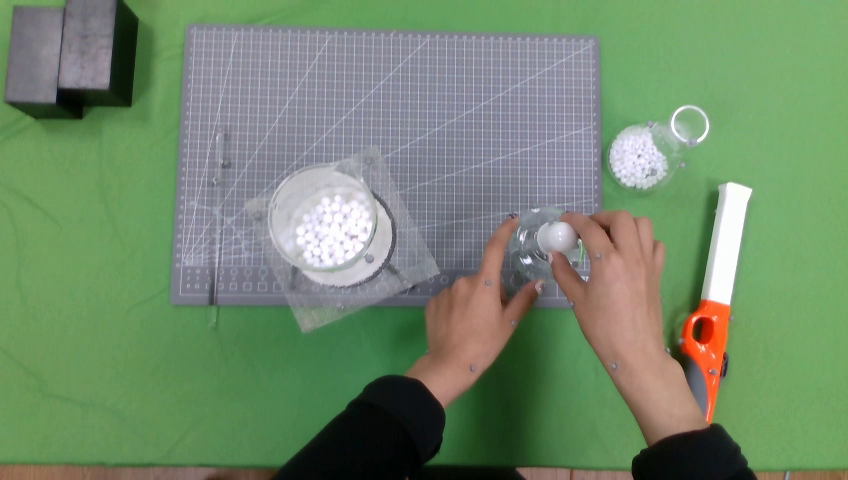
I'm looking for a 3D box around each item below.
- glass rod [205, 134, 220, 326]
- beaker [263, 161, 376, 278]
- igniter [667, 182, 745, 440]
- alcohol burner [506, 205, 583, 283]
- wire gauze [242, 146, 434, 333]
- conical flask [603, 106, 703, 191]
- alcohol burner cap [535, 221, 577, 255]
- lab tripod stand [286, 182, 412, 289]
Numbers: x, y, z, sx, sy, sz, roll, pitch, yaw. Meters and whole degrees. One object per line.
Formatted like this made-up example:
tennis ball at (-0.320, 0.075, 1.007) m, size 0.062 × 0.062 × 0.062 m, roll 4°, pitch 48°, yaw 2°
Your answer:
glass rod at (-0.218, -0.012, 0.627) m, size 0.008 × 0.008 × 0.199 m, roll 2°, pitch 86°, yaw -3°
beaker at (-0.072, -0.011, 0.458) m, size 0.074 × 0.100 × 0.084 m, roll 22°, pitch 83°, yaw 0°
igniter at (0.298, 0.074, 0.637) m, size 0.057 × 0.025 × 0.276 m, roll 15°, pitch 83°, yaw -11°
alcohol burner at (0.121, 0.001, 0.590) m, size 0.078 × 0.119 × 0.077 m, roll 0°, pitch 81°, yaw -1°
wire gauze at (-0.071, -0.001, 0.505) m, size 0.125 × 0.011 × 0.121 m, roll -25°, pitch 88°, yaw -7°
conical flask at (0.233, -0.096, 0.606) m, size 0.075 × 0.122 × 0.075 m, roll 0°, pitch 82°, yaw -2°
alcohol burner cap at (0.123, -0.004, 0.554) m, size 0.034 × 0.048 × 0.034 m, roll 0°, pitch 87°, yaw -4°
lab tripod stand at (-0.075, 0.006, 0.570) m, size 0.148 × 0.131 × 0.148 m, roll 0°, pitch 85°, yaw -2°
